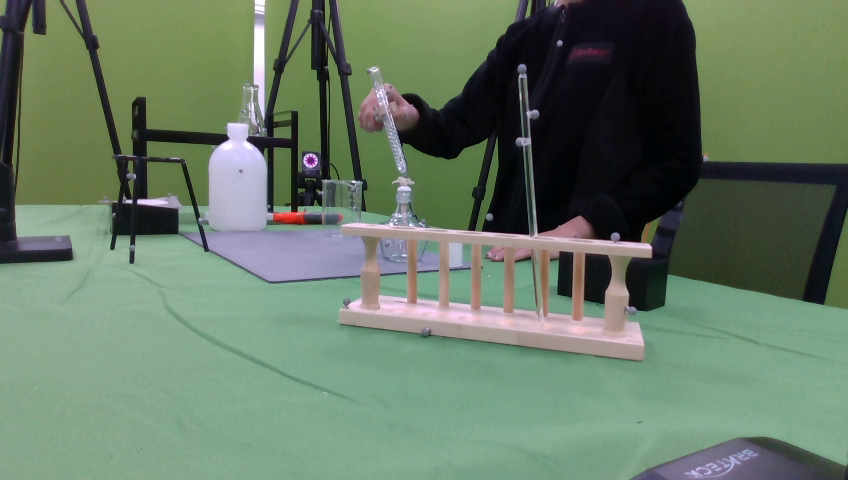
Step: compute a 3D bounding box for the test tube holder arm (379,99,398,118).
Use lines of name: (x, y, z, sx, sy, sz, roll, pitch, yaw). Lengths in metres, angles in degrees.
test tube holder arm: (-0.055, -0.184, 0.854, 0.010, 0.015, 0.087, -15, 7, -19)

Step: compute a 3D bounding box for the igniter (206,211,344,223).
igniter: (-0.302, -0.048, 1.249, 0.278, 0.025, 0.057, -2, -2, -26)

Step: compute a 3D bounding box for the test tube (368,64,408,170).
test tube: (-0.049, -0.169, 0.831, 0.017, 0.150, 0.017, -17, 1, 1)

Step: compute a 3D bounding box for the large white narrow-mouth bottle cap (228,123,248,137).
large white narrow-mouth bottle cap: (-0.338, -0.199, 1.097, 0.038, 0.024, 0.037, 2, 8, 0)

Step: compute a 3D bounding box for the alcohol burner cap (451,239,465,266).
alcohol burner cap: (0.040, 0.010, 0.815, 0.034, 0.048, 0.034, 3, 8, 0)

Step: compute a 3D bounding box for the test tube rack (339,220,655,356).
test tube rack: (0.056, 0.032, 0.495, 0.242, 0.085, 0.067, 4, 7, 15)

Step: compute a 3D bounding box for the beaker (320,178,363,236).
beaker: (-0.145, -0.059, 1.079, 0.074, 0.100, 0.083, -4, 10, -36)

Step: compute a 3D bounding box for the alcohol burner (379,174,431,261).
alcohol burner: (-0.027, -0.031, 0.838, 0.078, 0.119, 0.078, 0, 6, 0)

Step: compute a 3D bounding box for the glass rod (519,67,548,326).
glass rod: (0.084, -0.029, 0.459, 0.008, 0.199, 0.008, -7, 11, 2)

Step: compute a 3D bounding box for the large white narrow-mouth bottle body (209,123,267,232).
large white narrow-mouth bottle body: (-0.340, -0.115, 1.109, 0.102, 0.194, 0.102, 2, 8, 0)

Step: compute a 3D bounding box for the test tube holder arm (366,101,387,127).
test tube holder arm: (-0.072, -0.185, 0.896, 0.013, 0.015, 0.178, -13, 6, -12)

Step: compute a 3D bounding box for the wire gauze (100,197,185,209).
wire gauze: (-0.469, -0.062, 1.008, 0.126, 0.011, 0.121, -2, 8, -25)

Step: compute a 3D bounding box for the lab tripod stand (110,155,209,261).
lab tripod stand: (-0.361, -0.046, 0.806, 0.148, 0.131, 0.148, 2, 5, 0)

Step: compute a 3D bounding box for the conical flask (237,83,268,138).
conical flask: (-0.402, -0.299, 1.406, 0.075, 0.122, 0.075, 2, 7, 0)
